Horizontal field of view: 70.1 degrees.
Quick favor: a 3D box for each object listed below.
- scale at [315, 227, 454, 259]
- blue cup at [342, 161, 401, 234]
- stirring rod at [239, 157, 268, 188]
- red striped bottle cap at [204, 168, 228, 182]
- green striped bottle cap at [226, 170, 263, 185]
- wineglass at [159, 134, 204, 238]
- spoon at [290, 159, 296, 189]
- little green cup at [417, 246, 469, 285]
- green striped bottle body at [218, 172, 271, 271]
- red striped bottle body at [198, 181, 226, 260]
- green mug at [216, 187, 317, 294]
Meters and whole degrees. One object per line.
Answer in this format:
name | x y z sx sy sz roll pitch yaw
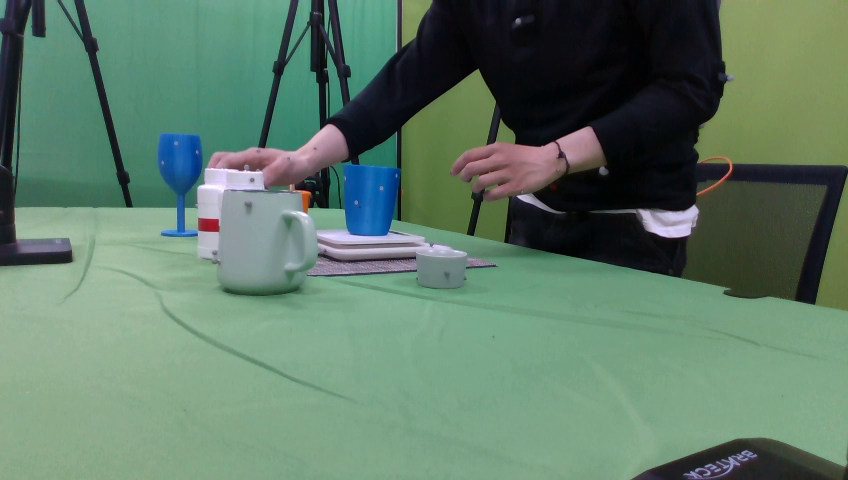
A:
scale | -0.067 0.001 0.906 0.202 0.031 0.148 -2 8 -31
blue cup | -0.079 -0.062 0.882 0.093 0.100 0.092 4 5 0
stirring rod | -0.309 -0.098 1.209 0.006 0.177 0.014 -39 29 -5
red striped bottle cap | -0.275 -0.088 0.821 0.044 0.017 0.044 4 7 0
green striped bottle cap | -0.222 -0.077 0.748 0.044 0.020 0.044 1 7 0
wineglass | -0.415 -0.093 1.039 0.074 0.172 0.073 2 7 0
spoon | -0.273 -0.102 1.252 0.042 0.193 0.021 7 -38 -17
little green cup | 0.021 0.029 0.701 0.061 0.038 0.061 1 6 0
green striped bottle body | -0.223 -0.025 0.755 0.063 0.119 0.063 2 7 0
red striped bottle body | -0.275 -0.035 0.827 0.063 0.119 0.063 1 7 0
green mug | -0.157 0.000 0.629 0.124 0.105 0.093 7 9 37
